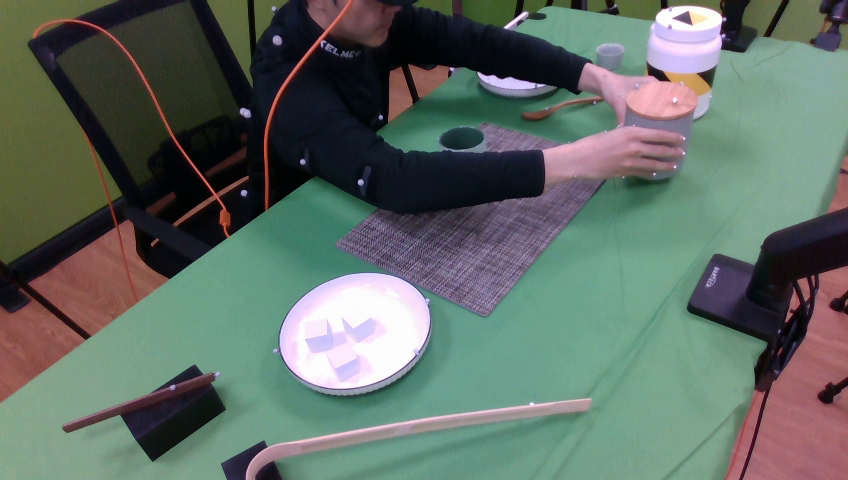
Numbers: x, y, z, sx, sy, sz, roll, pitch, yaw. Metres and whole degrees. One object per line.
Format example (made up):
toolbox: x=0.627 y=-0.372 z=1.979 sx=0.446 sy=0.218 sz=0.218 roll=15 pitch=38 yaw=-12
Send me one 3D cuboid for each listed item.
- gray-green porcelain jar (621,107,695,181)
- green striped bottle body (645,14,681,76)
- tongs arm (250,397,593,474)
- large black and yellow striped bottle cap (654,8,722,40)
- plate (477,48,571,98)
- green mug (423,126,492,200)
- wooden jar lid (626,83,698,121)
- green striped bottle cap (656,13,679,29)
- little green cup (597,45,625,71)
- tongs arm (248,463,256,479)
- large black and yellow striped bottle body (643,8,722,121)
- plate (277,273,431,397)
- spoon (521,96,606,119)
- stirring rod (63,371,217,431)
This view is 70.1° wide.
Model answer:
gray-green porcelain jar: x=0.386 y=-0.171 z=1.008 sx=0.106 sy=0.127 sz=0.105 roll=-5 pitch=43 yaw=5
green striped bottle body: x=0.520 y=-0.424 z=1.312 sx=0.063 sy=0.120 sz=0.063 roll=-4 pitch=41 yaw=4
tongs arm: x=0.008 y=0.212 z=0.675 sx=0.389 sy=0.028 sz=0.028 roll=-5 pitch=46 yaw=-11
large black and yellow striped bottle cap: x=0.483 y=-0.397 z=1.108 sx=0.115 sy=0.019 sz=0.114 roll=-3 pitch=42 yaw=3
plate: x=0.223 y=-0.371 z=1.357 sx=0.209 sy=0.038 sz=0.208 roll=-4 pitch=41 yaw=4
green mug: x=0.055 y=-0.126 z=1.039 sx=0.126 sy=0.105 sz=0.091 roll=-25 pitch=44 yaw=-18
wooden jar lid: x=0.379 y=-0.216 z=0.966 sx=0.108 sy=0.021 sz=0.108 roll=-6 pitch=41 yaw=6
green striped bottle cap: x=0.515 y=-0.463 z=1.278 sx=0.044 sy=0.020 sz=0.044 roll=-6 pitch=42 yaw=6
little green cup: x=0.423 y=-0.413 z=1.375 sx=0.061 sy=0.039 sz=0.061 roll=-3 pitch=41 yaw=3
tongs arm: x=0.012 y=0.262 z=0.615 sx=0.385 sy=0.026 sz=0.050 roll=2 pitch=42 yaw=-2
large black and yellow striped bottle body: x=0.493 y=-0.334 z=1.161 sx=0.131 sy=0.185 sz=0.130 roll=-4 pitch=41 yaw=4
plate: x=-0.091 y=0.129 z=0.820 sx=0.207 sy=0.039 sz=0.206 roll=-4 pitch=40 yaw=4
spoon: x=0.291 y=-0.277 z=1.249 sx=0.194 sy=0.022 sz=0.041 roll=-17 pitch=27 yaw=-10
stirring rod: x=-0.337 y=0.192 z=0.723 sx=0.177 sy=0.014 sz=0.005 roll=-18 pitch=43 yaw=-12
